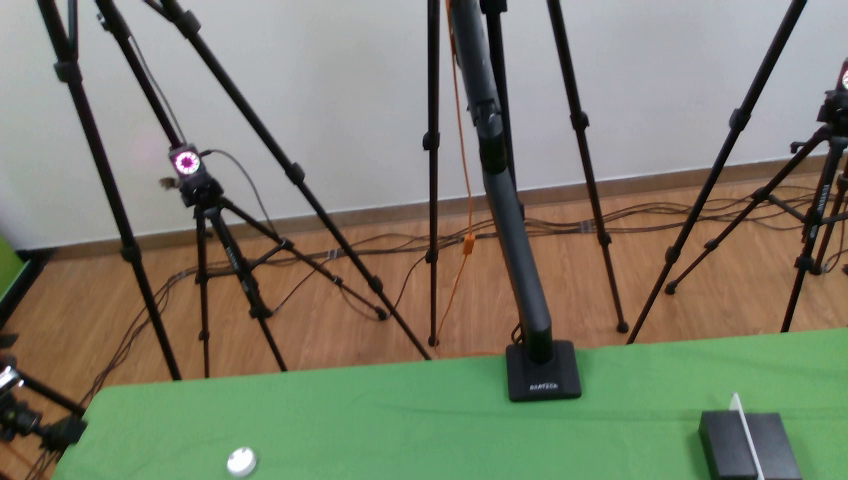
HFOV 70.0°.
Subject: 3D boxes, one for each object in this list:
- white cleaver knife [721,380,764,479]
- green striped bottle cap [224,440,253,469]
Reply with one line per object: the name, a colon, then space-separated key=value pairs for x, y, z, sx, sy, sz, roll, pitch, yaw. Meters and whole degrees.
white cleaver knife: x=0.448 y=0.319 z=0.825 sx=0.021 sy=0.066 sz=0.284 roll=-7 pitch=40 yaw=15
green striped bottle cap: x=-0.311 y=0.359 z=1.014 sx=0.044 sy=0.020 sz=0.044 roll=-8 pitch=42 yaw=7
